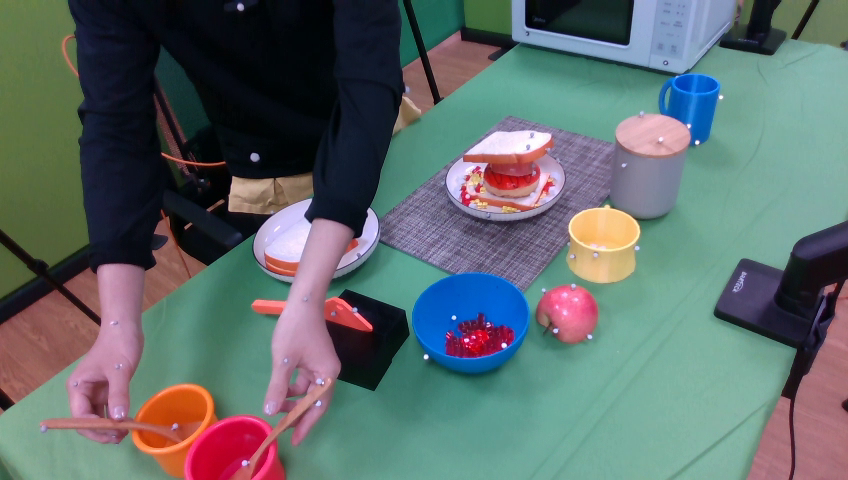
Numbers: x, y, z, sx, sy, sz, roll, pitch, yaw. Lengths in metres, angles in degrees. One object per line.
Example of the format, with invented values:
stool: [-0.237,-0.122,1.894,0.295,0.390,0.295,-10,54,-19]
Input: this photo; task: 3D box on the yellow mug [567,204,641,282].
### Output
yellow mug: [0.268,-0.004,0.905,0.099,0.064,0.130,6,41,16]

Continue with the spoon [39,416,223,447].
spoon: [-0.320,0.209,0.677,0.021,0.195,0.041,-53,41,15]

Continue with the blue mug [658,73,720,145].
blue mug: [0.483,-0.250,1.127,0.082,0.106,0.115,-26,44,-19]

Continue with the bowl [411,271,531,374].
bowl: [0.062,0.119,0.780,0.151,0.077,0.150,-4,40,4]

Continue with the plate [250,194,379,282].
plate: [-0.174,-0.001,0.984,0.209,0.038,0.208,-3,40,3]

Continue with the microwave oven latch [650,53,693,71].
microwave oven latch: [0.531,-0.386,1.301,0.078,0.029,0.030,25,51,33]

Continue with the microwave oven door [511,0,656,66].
microwave oven door: [0.350,-0.539,1.348,0.353,0.245,0.039,24,50,31]

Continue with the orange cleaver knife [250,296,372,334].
orange cleaver knife: [-0.159,0.103,0.828,0.210,0.078,0.012,-4,43,39]

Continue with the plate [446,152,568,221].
plate: [0.143,-0.097,1.045,0.207,0.039,0.206,-4,40,4]

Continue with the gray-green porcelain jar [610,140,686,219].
gray-green porcelain jar: [0.354,-0.106,0.964,0.106,0.127,0.105,-4,41,4]

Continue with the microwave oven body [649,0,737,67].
microwave oven body: [0.475,-0.602,1.411,0.438,0.261,0.327,23,50,32]

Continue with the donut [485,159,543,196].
donut: [0.151,-0.112,1.018,0.099,0.048,0.098,-4,40,4]

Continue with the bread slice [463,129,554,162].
bread slice: [0.142,-0.154,0.974,0.130,0.019,0.105,9,35,38]

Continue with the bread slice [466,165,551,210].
bread slice: [0.141,-0.093,1.041,0.133,0.018,0.107,8,42,20]

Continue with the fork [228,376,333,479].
fork: [-0.162,0.216,0.647,0.207,0.019,0.028,-50,40,16]

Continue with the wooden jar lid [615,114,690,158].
wooden jar lid: [0.347,-0.155,0.923,0.108,0.021,0.108,-3,43,4]

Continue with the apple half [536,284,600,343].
apple half: [0.196,0.090,0.815,0.075,0.053,0.080,-22,42,-20]
